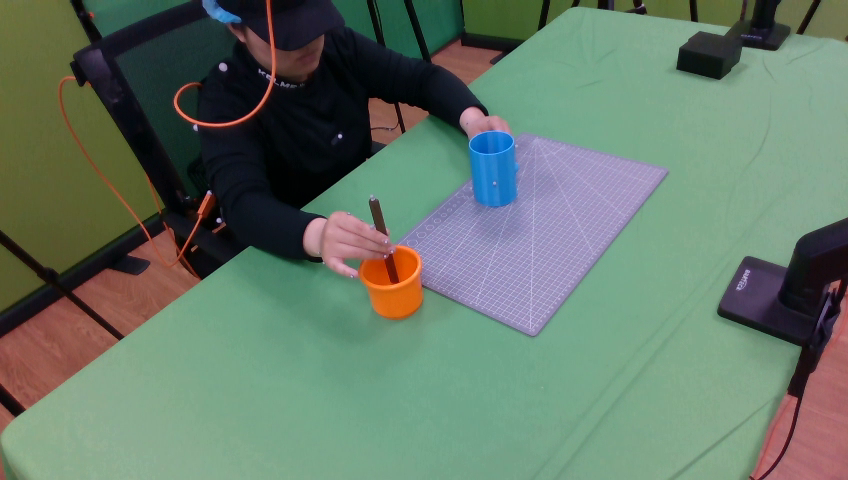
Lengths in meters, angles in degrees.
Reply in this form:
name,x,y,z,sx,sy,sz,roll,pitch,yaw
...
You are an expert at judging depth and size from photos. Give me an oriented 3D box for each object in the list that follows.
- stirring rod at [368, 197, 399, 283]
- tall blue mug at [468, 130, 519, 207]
name,x,y,z,sx,sy,sz,roll,pitch,yaw
stirring rod,-0.054,0.005,0.838,0.014,0.177,0.006,-4,49,6
tall blue mug,0.114,-0.131,1.045,0.078,0.108,0.106,-20,41,-11
